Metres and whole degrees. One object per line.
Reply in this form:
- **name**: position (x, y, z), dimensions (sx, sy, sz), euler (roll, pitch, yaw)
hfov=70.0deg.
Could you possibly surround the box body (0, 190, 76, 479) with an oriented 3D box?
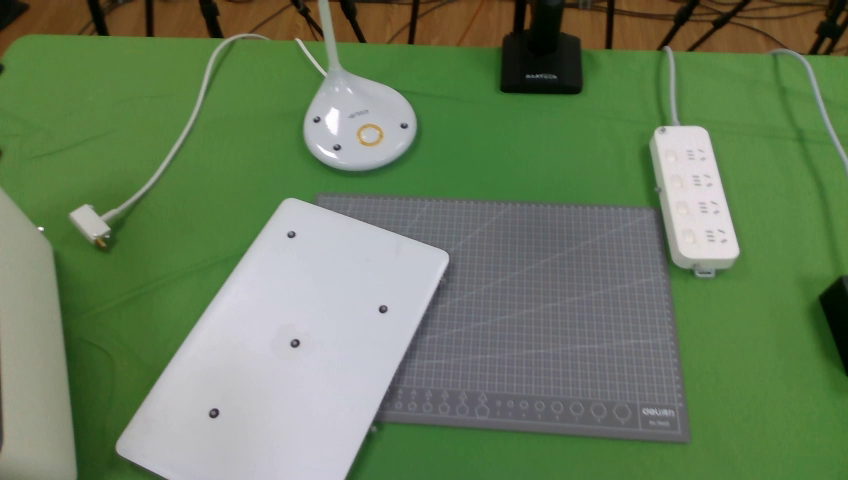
- **box body**: position (-0.527, 0.126, 0.611), dimensions (0.254, 0.162, 0.360), euler (-21, 60, -11)

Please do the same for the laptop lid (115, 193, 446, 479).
- **laptop lid**: position (-0.145, 0.113, 0.678), dimensions (0.241, 0.013, 0.355), euler (21, 62, 13)

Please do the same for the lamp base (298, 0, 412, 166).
- **lamp base**: position (-0.108, -0.218, 0.797), dimensions (0.160, 0.182, 0.177), euler (-32, 59, -16)

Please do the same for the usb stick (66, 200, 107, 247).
- **usb stick**: position (-0.425, -0.019, 0.771), dimensions (0.027, 0.021, 0.059), euler (-41, 95, -37)

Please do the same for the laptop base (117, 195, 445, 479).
- **laptop base**: position (-0.147, 0.119, 0.689), dimensions (0.235, 0.023, 0.352), euler (20, 62, 11)

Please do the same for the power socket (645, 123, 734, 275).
- **power socket**: position (0.333, -0.062, 0.770), dimensions (0.072, 0.033, 0.224), euler (2, 58, 2)

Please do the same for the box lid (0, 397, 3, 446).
- **box lid**: position (-0.530, 0.085, 0.550), dimensions (0.263, 0.015, 0.367), euler (-21, 61, -11)
